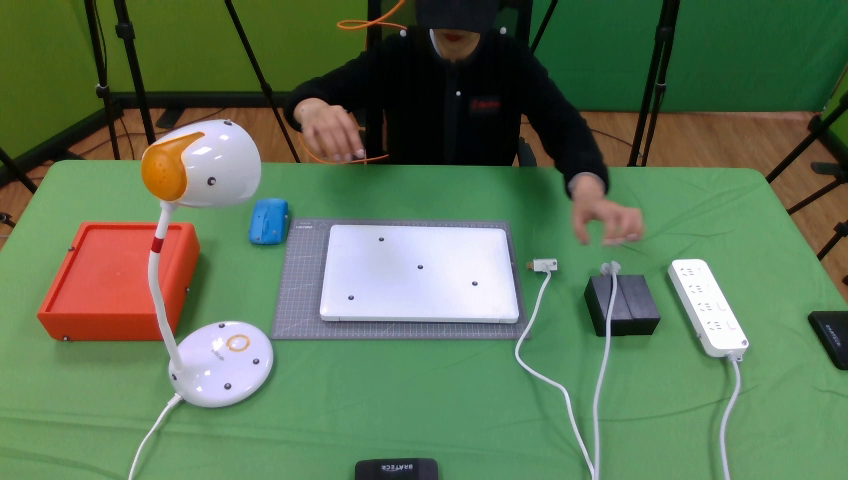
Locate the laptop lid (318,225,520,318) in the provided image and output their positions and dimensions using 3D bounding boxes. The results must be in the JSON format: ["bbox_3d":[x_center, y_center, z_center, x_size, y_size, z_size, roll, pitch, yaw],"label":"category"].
[{"bbox_3d":[-0.009,0.052,1.131,0.357,0.013,0.240,2,43,-2],"label":"laptop lid"}]

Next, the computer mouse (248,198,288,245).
[{"bbox_3d":[-0.309,-0.041,1.205,0.063,0.041,0.116,3,50,-3],"label":"computer mouse"}]

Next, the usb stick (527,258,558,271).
[{"bbox_3d":[0.226,0.047,1.158,0.059,0.021,0.027,-3,8,10],"label":"usb stick"}]

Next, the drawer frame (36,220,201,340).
[{"bbox_3d":[-0.517,0.065,1.055,0.202,0.083,0.212,0,47,-5],"label":"drawer frame"}]

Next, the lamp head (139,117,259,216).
[{"bbox_3d":[-0.281,-0.086,0.734,0.112,0.113,0.123,21,25,16],"label":"lamp head"}]

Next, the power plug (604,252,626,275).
[{"bbox_3d":[0.367,0.040,1.128,0.035,0.072,0.052,39,59,-10],"label":"power plug"}]

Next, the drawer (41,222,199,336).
[{"bbox_3d":[-0.519,0.064,1.058,0.195,0.073,0.210,1,46,-4],"label":"drawer"}]

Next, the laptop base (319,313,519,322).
[{"bbox_3d":[-0.009,0.063,1.137,0.354,0.023,0.234,1,42,-3],"label":"laptop base"}]

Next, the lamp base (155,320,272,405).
[{"bbox_3d":[-0.330,0.149,0.918,0.160,0.181,0.179,26,52,20],"label":"lamp base"}]

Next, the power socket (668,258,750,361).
[{"bbox_3d":[0.517,0.118,1.109,0.072,0.033,0.225,-2,46,-5],"label":"power socket"}]
